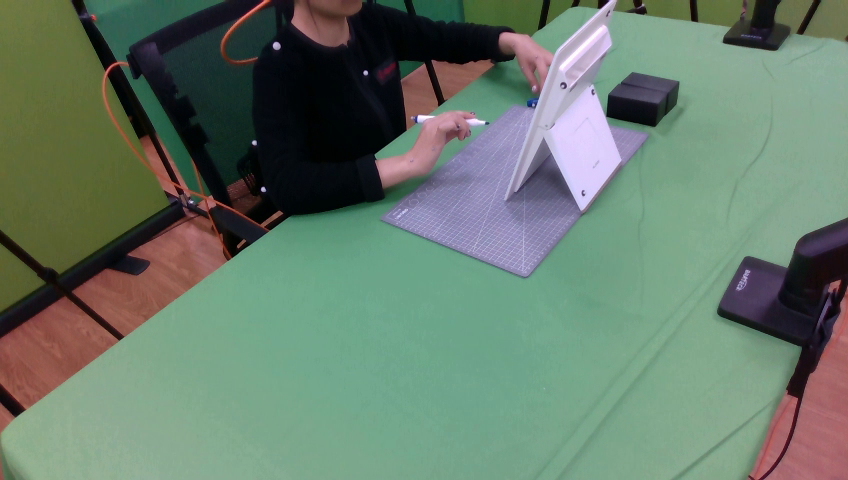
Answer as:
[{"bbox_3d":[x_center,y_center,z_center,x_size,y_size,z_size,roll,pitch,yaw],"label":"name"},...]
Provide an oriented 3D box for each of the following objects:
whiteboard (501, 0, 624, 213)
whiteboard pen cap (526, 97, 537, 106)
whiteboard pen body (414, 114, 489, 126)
[{"bbox_3d":[0.271,-0.189,0.977,0.143,0.306,0.218,34,53,16],"label":"whiteboard"},{"bbox_3d":[0.235,-0.296,1.291,0.033,0.018,0.018,-7,41,5],"label":"whiteboard pen cap"},{"bbox_3d":[0.050,-0.219,1.110,0.140,0.017,0.017,6,43,11],"label":"whiteboard pen body"}]
